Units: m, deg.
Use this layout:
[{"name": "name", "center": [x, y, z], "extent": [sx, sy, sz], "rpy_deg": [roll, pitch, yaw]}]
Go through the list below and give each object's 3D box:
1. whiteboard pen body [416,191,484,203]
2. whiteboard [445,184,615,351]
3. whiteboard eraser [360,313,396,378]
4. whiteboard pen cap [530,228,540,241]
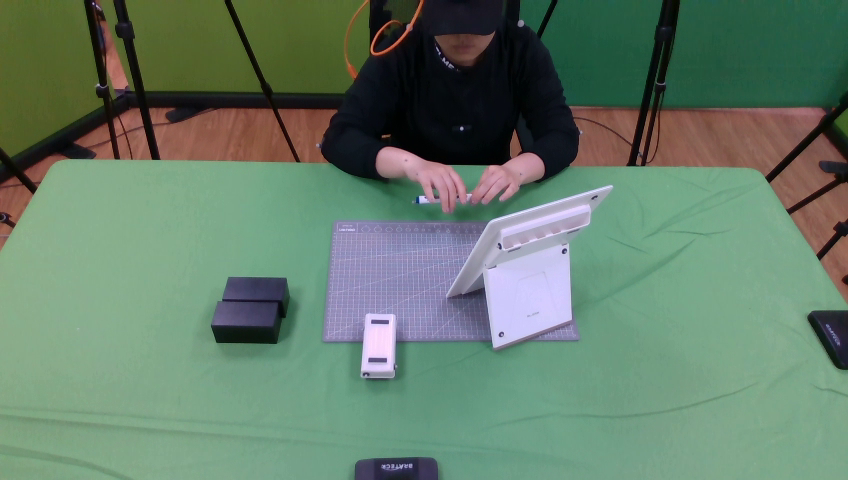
[{"name": "whiteboard pen body", "center": [0.053, -0.087, 1.217], "extent": [0.141, 0.017, 0.017], "rpy_deg": [-6, 47, -9]}, {"name": "whiteboard", "center": [0.186, 0.065, 0.989], "extent": [0.217, 0.306, 0.143], "rpy_deg": [-15, 68, -18]}, {"name": "whiteboard eraser", "center": [-0.075, 0.176, 1.006], "extent": [0.055, 0.042, 0.112], "rpy_deg": [3, 50, -4]}, {"name": "whiteboard pen cap", "center": [0.225, -0.011, 1.221], "extent": [0.018, 0.018, 0.033], "rpy_deg": [13, 29, 8]}]
